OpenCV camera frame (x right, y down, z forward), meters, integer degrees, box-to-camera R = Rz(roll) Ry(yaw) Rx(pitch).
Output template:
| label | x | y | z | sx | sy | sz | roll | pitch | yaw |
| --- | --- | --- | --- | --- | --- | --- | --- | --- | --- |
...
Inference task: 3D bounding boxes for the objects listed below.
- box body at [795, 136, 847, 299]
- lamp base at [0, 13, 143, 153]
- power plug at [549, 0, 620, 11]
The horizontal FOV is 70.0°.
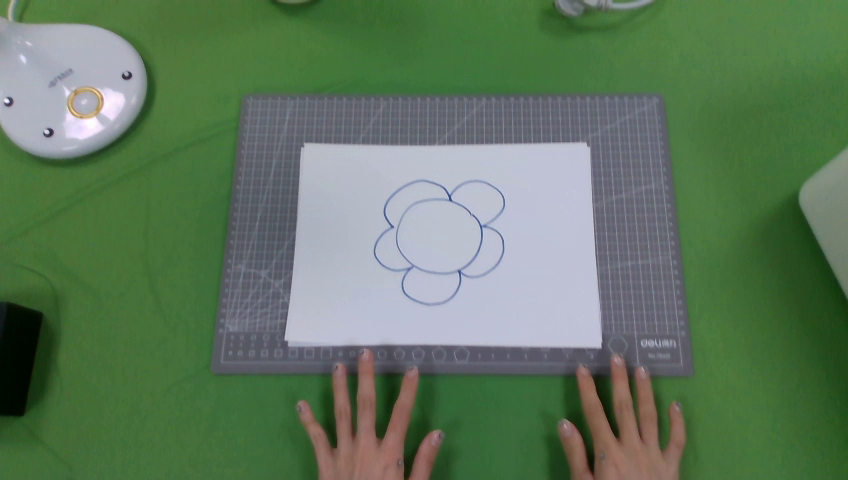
| label | x | y | z | sx | sy | sz | roll | pitch | yaw |
| --- | --- | --- | --- | --- | --- | --- | --- | --- | --- |
| box body | 0.523 | 0.040 | 0.499 | 0.254 | 0.161 | 0.361 | -18 | 74 | -4 |
| lamp base | -0.396 | -0.196 | 0.579 | 0.178 | 0.181 | 0.160 | 32 | 76 | 13 |
| power plug | 0.168 | -0.258 | 0.662 | 0.073 | 0.052 | 0.035 | 33 | 83 | -17 |
